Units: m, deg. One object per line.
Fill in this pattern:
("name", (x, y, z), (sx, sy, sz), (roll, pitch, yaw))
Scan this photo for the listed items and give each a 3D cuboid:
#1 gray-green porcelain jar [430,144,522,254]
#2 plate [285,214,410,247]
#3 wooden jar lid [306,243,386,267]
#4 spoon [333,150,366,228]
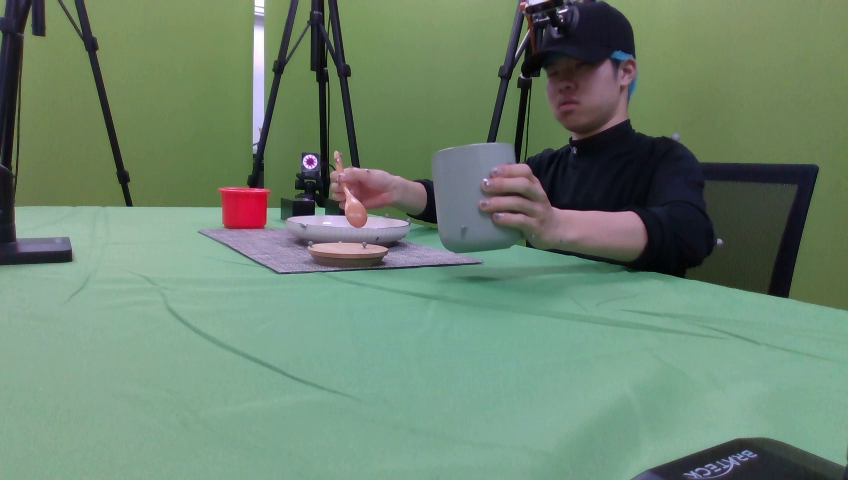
("gray-green porcelain jar", (0.066, -0.048, 0.751), (0.106, 0.126, 0.106), (-6, 0, 0))
("plate", (-0.127, -0.015, 1.012), (0.208, 0.039, 0.207), (3, 7, 0))
("wooden jar lid", (-0.105, 0.020, 0.816), (0.108, 0.020, 0.108), (1, 7, 0))
("spoon", (-0.139, -0.094, 1.060), (0.042, 0.021, 0.193), (4, 41, -29))
